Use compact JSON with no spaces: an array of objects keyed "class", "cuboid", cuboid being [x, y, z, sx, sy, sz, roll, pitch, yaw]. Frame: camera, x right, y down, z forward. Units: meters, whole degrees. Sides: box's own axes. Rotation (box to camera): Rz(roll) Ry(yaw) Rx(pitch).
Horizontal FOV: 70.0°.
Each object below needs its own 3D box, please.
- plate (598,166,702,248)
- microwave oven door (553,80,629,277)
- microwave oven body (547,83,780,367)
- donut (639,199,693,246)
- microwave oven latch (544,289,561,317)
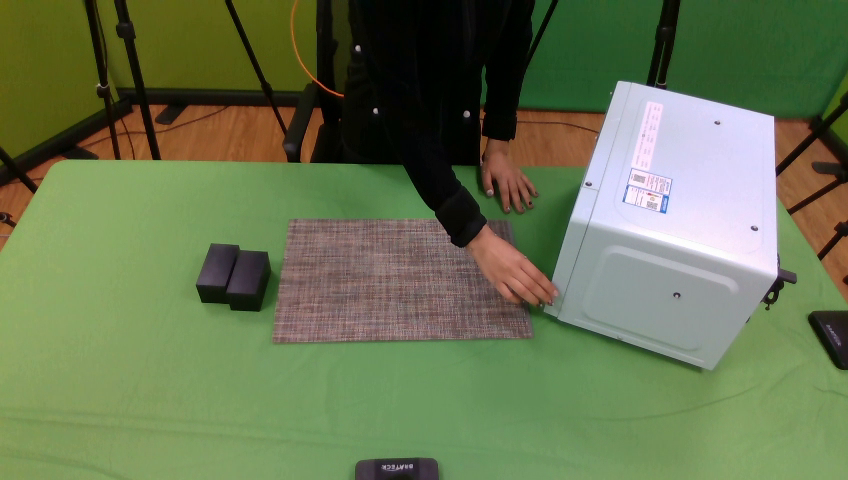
[{"class":"plate","cuboid":[0.432,-0.061,1.174,0.209,0.038,0.208,8,47,-9]},{"class":"microwave oven door","cuboid":[0.324,-0.116,1.156,0.039,0.245,0.354,18,48,13]},{"class":"microwave oven body","cuboid":[0.445,-0.041,1.101,0.325,0.261,0.440,17,47,13]},{"class":"donut","cuboid":[0.463,-0.034,1.160,0.099,0.048,0.098,-1,62,2]},{"class":"microwave oven latch","cuboid":[0.237,0.099,1.087,0.030,0.029,0.079,18,47,14]}]
